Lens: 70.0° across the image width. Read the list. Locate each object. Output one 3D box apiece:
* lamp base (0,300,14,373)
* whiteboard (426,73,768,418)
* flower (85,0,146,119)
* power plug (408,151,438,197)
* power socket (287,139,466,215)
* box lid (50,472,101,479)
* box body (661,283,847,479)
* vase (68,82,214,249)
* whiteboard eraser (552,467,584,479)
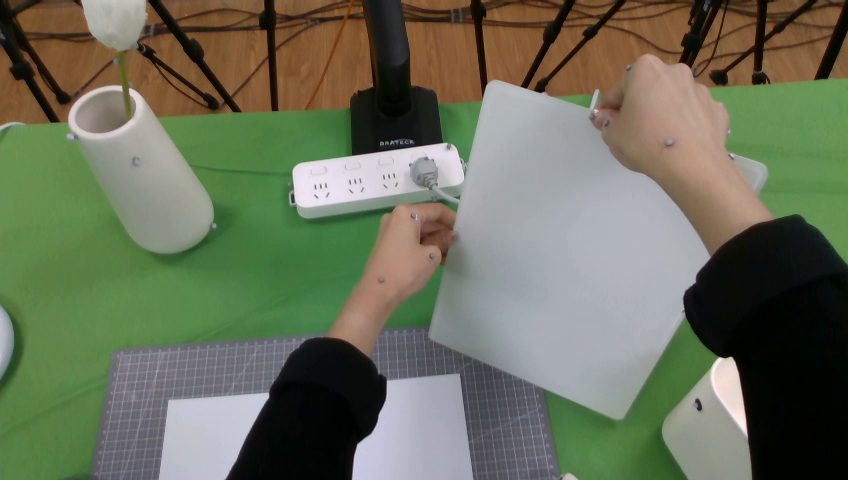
[{"bbox_3d":[-0.524,0.073,0.568,0.178,0.182,0.160,24,61,17],"label":"lamp base"},{"bbox_3d":[0.150,-0.010,0.591,0.216,0.308,0.143,22,40,13],"label":"whiteboard"},{"bbox_3d":[-0.278,-0.110,0.576,0.038,0.363,0.044,44,57,4],"label":"flower"},{"bbox_3d":[-0.002,-0.074,0.725,0.035,0.053,0.072,0,65,-1],"label":"power plug"},{"bbox_3d":[-0.057,-0.080,0.754,0.227,0.033,0.071,-8,60,-7],"label":"power socket"},{"bbox_3d":[-0.229,0.373,0.491,0.370,0.015,0.262,19,61,10],"label":"box lid"},{"bbox_3d":[0.408,0.230,0.498,0.254,0.161,0.360,-23,62,-14],"label":"box body"},{"bbox_3d":[-0.299,-0.073,0.649,0.098,0.201,0.097,0,58,1],"label":"vase"},{"bbox_3d":[0.114,0.264,0.541,0.055,0.042,0.112,37,65,20],"label":"whiteboard eraser"}]
